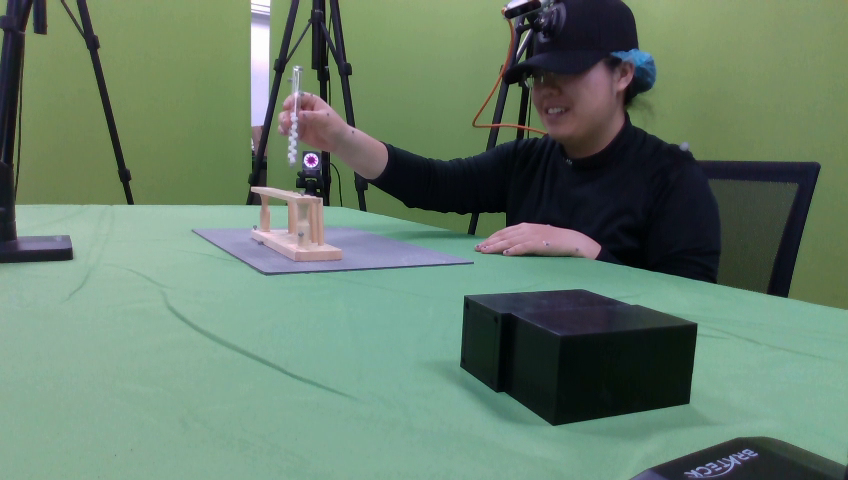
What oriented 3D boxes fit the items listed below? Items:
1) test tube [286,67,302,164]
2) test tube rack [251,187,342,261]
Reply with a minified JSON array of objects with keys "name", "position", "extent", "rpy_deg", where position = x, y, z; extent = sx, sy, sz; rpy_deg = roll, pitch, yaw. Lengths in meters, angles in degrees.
[{"name":"test tube","position":[-0.200,-0.191,0.929],"extent":[0.017,0.150,0.017],"rpy_deg":[3,-3,1]},{"name":"test tube rack","position":[-0.196,-0.030,0.902],"extent":[0.067,0.085,0.241],"rpy_deg":[-2,8,-29]}]
